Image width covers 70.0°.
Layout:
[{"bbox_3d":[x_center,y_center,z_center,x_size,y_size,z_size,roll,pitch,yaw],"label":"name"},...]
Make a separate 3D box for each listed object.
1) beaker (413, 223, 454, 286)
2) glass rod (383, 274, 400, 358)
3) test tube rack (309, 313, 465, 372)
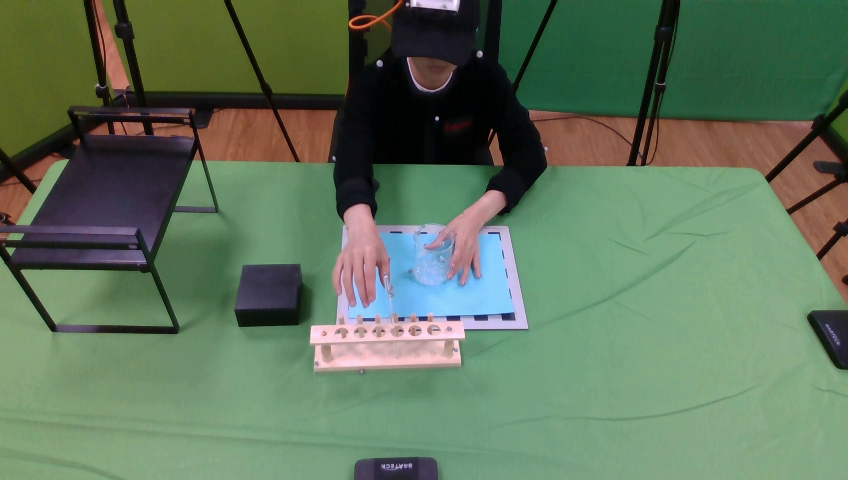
[{"bbox_3d":[0.018,0.029,1.109,0.084,0.101,0.073,-34,57,-31],"label":"beaker"},{"bbox_3d":[-0.049,0.122,0.936,0.008,0.201,0.008,-3,43,3],"label":"glass rod"},{"bbox_3d":[-0.059,0.161,0.990,0.242,0.085,0.066,-1,46,-5],"label":"test tube rack"}]
